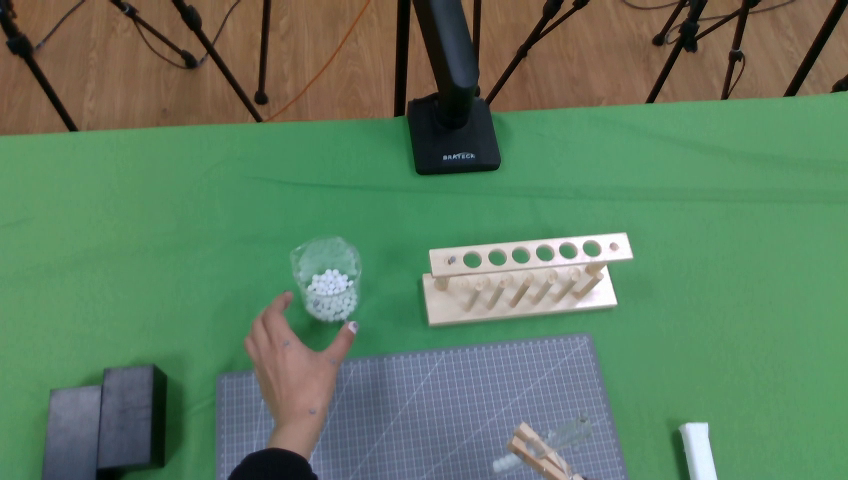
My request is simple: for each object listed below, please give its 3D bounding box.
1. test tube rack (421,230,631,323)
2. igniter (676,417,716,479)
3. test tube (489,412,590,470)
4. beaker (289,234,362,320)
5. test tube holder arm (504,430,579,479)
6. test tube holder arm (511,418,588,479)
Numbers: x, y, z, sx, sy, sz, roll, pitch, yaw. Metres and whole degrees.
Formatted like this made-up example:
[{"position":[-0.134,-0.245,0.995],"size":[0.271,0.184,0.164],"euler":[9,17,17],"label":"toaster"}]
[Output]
[{"position":[0.123,0.045,0.737],"size":[0.243,0.086,0.066],"euler":[-5,65,-9],"label":"test tube rack"},{"position":[0.318,0.335,0.658],"size":[0.057,0.025,0.274],"euler":[5,64,-15],"label":"igniter"},{"position":[0.093,0.174,0.516],"size":[0.017,0.151,0.017],"euler":[12,56,-17],"label":"test tube"},{"position":[-0.113,0.046,0.701],"size":[0.084,0.101,0.073],"euler":[21,64,4],"label":"beaker"},{"position":[0.107,0.193,0.514],"size":[0.088,0.015,0.010],"euler":[36,53,0],"label":"test tube holder arm"},{"position":[0.144,0.218,0.515],"size":[0.178,0.015,0.013],"euler":[42,54,5],"label":"test tube holder arm"}]
